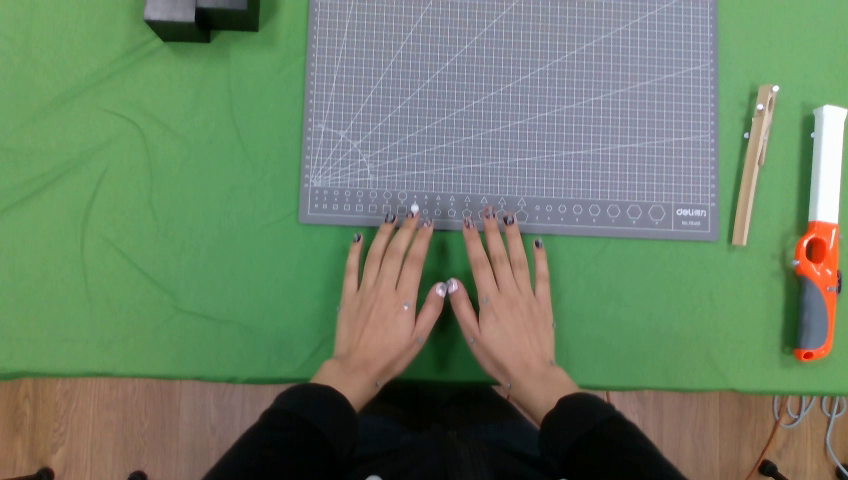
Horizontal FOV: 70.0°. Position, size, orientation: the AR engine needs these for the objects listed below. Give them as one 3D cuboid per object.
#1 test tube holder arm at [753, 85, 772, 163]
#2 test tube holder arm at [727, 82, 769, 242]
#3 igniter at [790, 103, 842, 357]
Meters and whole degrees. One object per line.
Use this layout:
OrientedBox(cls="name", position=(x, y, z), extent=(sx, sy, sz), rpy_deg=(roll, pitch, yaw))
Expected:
OrientedBox(cls="test tube holder arm", position=(0.367, -0.127, 0.666), extent=(0.010, 0.015, 0.087), rpy_deg=(18, 84, -35))
OrientedBox(cls="test tube holder arm", position=(0.352, -0.085, 0.659), extent=(0.013, 0.015, 0.178), rpy_deg=(16, 85, -35))
OrientedBox(cls="igniter", position=(0.424, -0.011, 0.654), extent=(0.057, 0.025, 0.276), rpy_deg=(9, 85, -12))
